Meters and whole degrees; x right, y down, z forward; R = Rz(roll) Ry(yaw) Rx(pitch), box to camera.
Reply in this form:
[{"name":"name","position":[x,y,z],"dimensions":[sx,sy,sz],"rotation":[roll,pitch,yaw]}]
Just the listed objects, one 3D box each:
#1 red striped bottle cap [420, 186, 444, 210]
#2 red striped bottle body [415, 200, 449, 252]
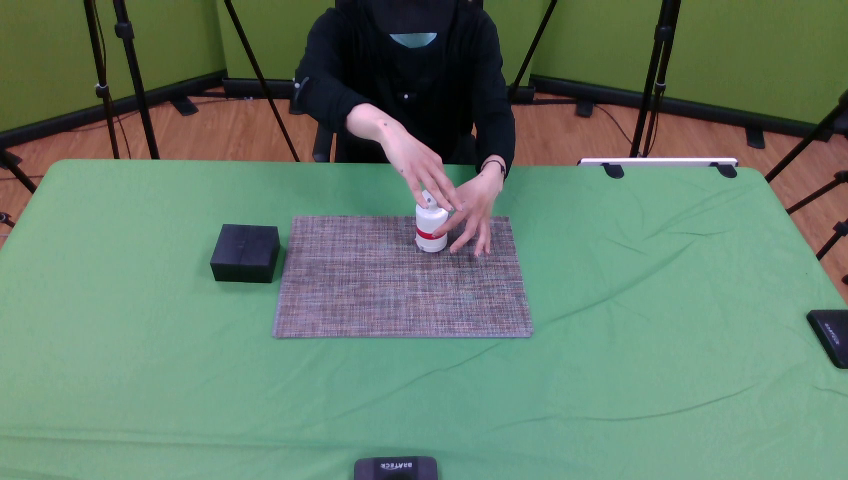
[{"name":"red striped bottle cap","position":[0.015,-0.077,1.114],"dimensions":[0.044,0.018,0.044],"rotation":[-1,55,1]},{"name":"red striped bottle body","position":[0.015,-0.038,1.157],"dimensions":[0.063,0.120,0.062],"rotation":[0,48,0]}]
